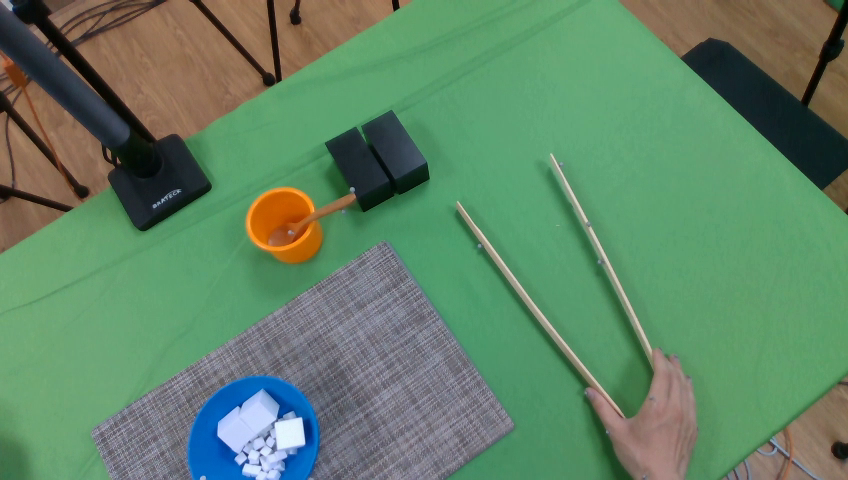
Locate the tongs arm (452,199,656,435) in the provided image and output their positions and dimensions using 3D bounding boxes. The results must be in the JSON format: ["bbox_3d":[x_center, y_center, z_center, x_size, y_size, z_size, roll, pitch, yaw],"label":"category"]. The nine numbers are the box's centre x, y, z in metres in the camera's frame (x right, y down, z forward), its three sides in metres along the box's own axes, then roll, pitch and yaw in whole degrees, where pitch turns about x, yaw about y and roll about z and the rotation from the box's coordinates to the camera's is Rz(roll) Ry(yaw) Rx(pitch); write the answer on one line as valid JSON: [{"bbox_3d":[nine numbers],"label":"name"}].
[{"bbox_3d":[0.152,0.091,0.778,0.028,0.028,0.384,-34,71,-10],"label":"tongs arm"}]

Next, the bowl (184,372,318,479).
[{"bbox_3d":[-0.192,0.238,0.716,0.151,0.077,0.150,-1,70,4],"label":"bowl"}]

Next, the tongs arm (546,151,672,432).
[{"bbox_3d":[0.224,0.054,0.781,0.051,0.027,0.382,-23,71,-3],"label":"tongs arm"}]

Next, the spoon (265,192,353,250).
[{"bbox_3d":[-0.152,-0.026,0.778,0.022,0.193,0.041,19,62,-35],"label":"spoon"}]
